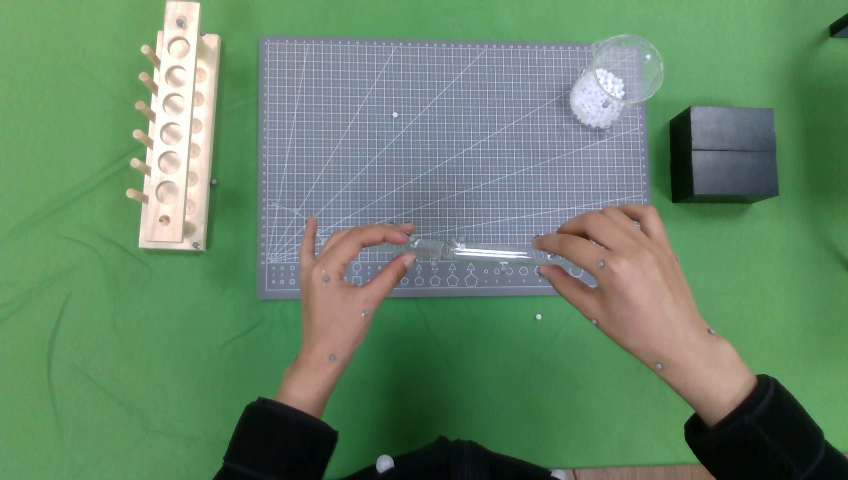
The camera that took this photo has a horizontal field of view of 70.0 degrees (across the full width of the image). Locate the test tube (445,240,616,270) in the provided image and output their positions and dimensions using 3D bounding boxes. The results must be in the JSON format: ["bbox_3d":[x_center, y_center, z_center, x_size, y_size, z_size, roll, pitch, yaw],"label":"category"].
[{"bbox_3d":[0.090,0.013,0.497,0.151,0.017,0.017,4,83,-16],"label":"test tube"}]

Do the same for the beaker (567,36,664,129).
[{"bbox_3d":[0.203,-0.170,0.669,0.084,0.100,0.074,37,81,2],"label":"beaker"}]

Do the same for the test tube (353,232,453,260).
[{"bbox_3d":[-0.024,0.004,0.542,0.017,0.149,0.017,-4,96,-35],"label":"test tube"}]

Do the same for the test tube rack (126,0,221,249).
[{"bbox_3d":[-0.264,-0.116,0.631,0.067,0.085,0.241,3,84,-4],"label":"test tube rack"}]
